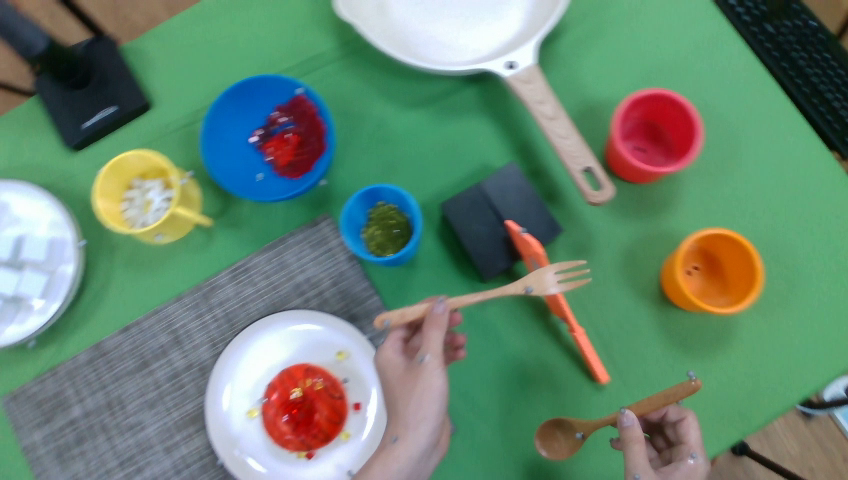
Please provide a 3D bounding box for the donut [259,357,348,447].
[{"bbox_3d":[-0.133,0.179,0.672,0.099,0.048,0.099,0,83,1],"label":"donut"}]

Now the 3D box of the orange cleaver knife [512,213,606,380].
[{"bbox_3d":[0.149,0.064,0.672,0.012,0.076,0.213,-30,109,-2],"label":"orange cleaver knife"}]

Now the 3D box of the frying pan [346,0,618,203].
[{"bbox_3d":[0.092,-0.250,0.715,0.307,0.103,0.484,-25,72,-1],"label":"frying pan"}]

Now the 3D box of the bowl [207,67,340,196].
[{"bbox_3d":[-0.168,-0.118,0.718,0.151,0.077,0.151,0,81,2],"label":"bowl"}]

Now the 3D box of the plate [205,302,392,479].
[{"bbox_3d":[-0.138,0.175,0.684,0.209,0.038,0.208,0,81,2],"label":"plate"}]

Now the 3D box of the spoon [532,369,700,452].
[{"bbox_3d":[0.174,0.161,0.568,0.022,0.194,0.041,-13,71,-42],"label":"spoon"}]

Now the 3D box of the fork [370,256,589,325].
[{"bbox_3d":[0.053,0.047,0.549,0.208,0.018,0.028,-13,88,-13],"label":"fork"}]

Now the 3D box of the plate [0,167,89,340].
[{"bbox_3d":[-0.501,0.017,0.730,0.207,0.039,0.207,0,81,3],"label":"plate"}]

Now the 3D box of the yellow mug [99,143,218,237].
[{"bbox_3d":[-0.306,-0.052,0.719,0.130,0.064,0.099,22,82,5],"label":"yellow mug"}]

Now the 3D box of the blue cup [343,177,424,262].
[{"bbox_3d":[-0.040,-0.015,0.683,0.092,0.100,0.092,0,78,2],"label":"blue cup"}]
